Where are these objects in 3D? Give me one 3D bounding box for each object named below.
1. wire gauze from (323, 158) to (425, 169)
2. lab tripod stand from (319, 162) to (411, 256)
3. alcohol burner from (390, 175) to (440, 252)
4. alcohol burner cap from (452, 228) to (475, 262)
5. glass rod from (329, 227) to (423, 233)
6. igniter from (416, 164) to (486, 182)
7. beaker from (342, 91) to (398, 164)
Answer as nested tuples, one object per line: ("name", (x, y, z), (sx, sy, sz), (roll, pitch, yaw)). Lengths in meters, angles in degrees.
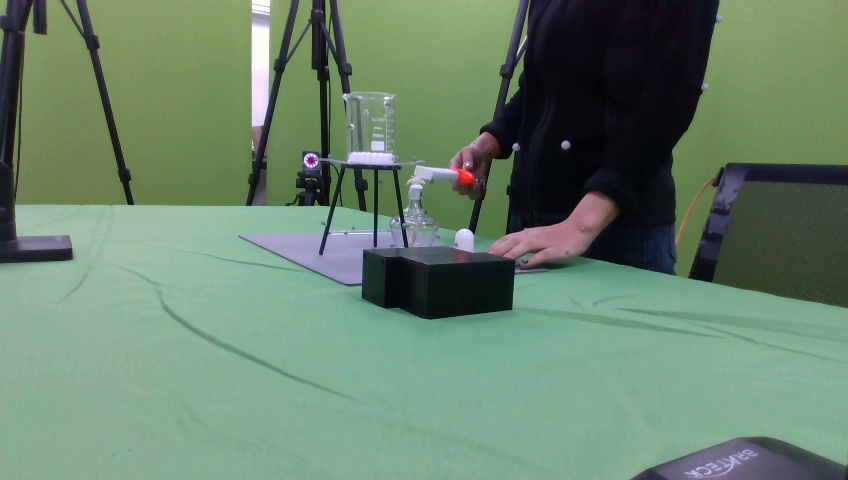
("wire gauze", (-0.080, -0.112, 0.869), (0.122, 0.011, 0.124), (-6, 12, -35))
("lab tripod stand", (-0.081, -0.047, 0.879), (0.148, 0.131, 0.148), (2, 9, 0))
("alcohol burner", (-0.014, -0.041, 0.932), (0.078, 0.119, 0.078), (1, 9, 0))
("alcohol burner cap", (0.058, 0.006, 0.872), (0.034, 0.048, 0.034), (3, 7, 0))
("glass rod", (-0.087, -0.019, 1.148), (0.201, 0.008, 0.008), (-3, 8, -32))
("igniter", (0.054, -0.118, 1.076), (0.057, 0.025, 0.277), (20, 11, 20))
("beaker", (-0.079, -0.160, 0.867), (0.084, 0.100, 0.073), (-5, 10, -34))
